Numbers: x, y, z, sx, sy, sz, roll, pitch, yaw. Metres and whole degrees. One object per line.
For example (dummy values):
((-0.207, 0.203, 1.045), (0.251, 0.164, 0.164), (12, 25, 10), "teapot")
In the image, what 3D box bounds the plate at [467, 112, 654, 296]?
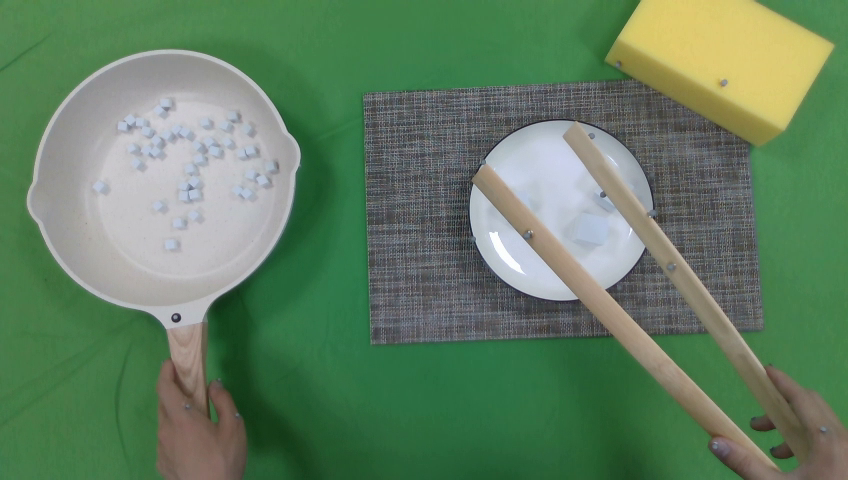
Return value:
((0.152, -0.039, 0.691), (0.207, 0.039, 0.207), (0, 85, 2), "plate")

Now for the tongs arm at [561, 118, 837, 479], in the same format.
((0.232, 0.047, 0.546), (0.051, 0.026, 0.383), (-26, 75, -37), "tongs arm")

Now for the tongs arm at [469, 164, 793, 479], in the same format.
((0.178, 0.078, 0.501), (0.386, 0.028, 0.028), (46, 47, 5), "tongs arm")

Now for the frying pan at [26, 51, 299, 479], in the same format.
((-0.268, 0.034, 0.670), (0.307, 0.103, 0.485), (-11, 76, 2), "frying pan")

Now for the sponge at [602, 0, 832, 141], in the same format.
((0.328, -0.219, 0.691), (0.206, 0.061, 0.118), (30, 85, 6), "sponge")
